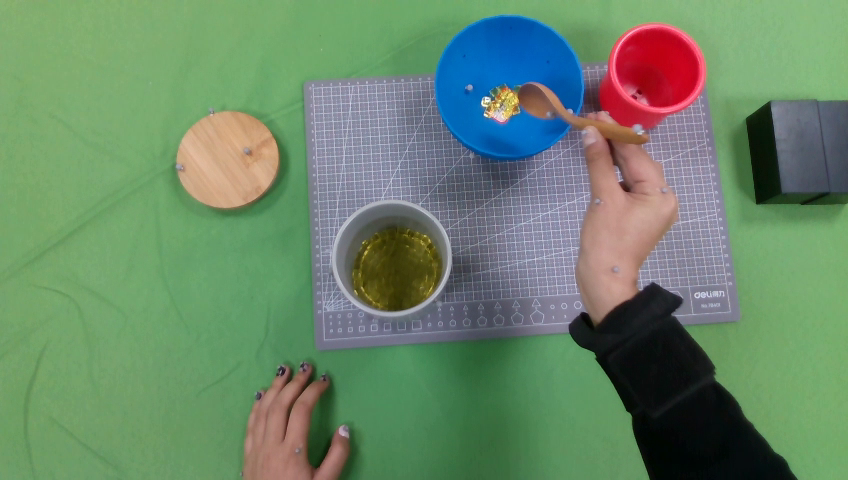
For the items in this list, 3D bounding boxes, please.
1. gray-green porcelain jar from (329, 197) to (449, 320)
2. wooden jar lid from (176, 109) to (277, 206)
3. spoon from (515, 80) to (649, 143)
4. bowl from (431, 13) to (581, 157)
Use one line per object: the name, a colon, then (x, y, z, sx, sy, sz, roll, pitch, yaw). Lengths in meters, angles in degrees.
gray-green porcelain jar: (-0.030, 0.024, 0.586, 0.106, 0.127, 0.105, 0, 80, 0)
wooden jar lid: (-0.213, -0.088, 0.659, 0.108, 0.021, 0.108, 0, 81, 0)
spoon: (0.128, -0.106, 0.518, 0.021, 0.192, 0.042, -31, 119, -2)
bowl: (0.082, -0.150, 0.639, 0.151, 0.077, 0.151, 0, 81, 0)
